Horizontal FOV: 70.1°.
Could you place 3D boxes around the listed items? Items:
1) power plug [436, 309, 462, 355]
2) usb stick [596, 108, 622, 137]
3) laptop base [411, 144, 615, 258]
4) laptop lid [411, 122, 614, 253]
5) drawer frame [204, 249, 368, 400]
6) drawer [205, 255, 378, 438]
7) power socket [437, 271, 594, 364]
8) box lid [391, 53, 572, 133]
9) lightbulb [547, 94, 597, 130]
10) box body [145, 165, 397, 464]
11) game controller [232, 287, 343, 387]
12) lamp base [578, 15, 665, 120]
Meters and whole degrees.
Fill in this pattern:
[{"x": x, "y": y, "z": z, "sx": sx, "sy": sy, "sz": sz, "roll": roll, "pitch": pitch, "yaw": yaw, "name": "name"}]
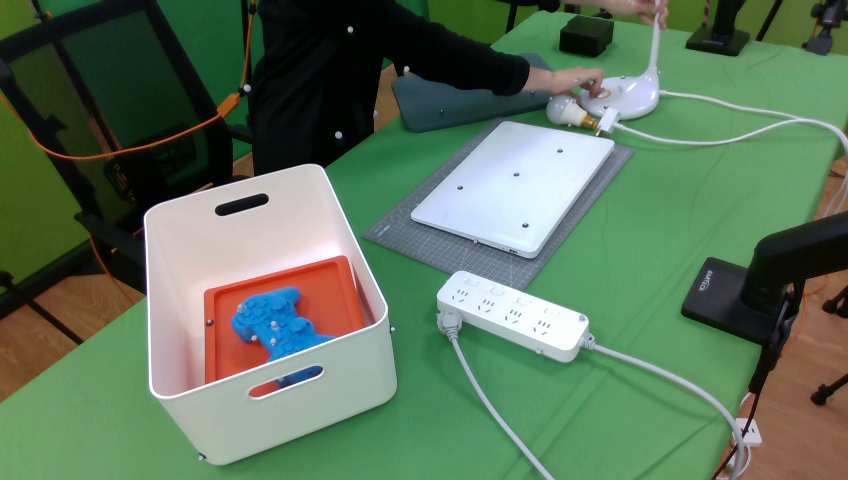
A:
[{"x": 0.032, "y": 0.126, "z": 0.810, "sx": 0.035, "sy": 0.053, "sz": 0.072, "roll": 3, "pitch": 59, "yaw": 7, "name": "power plug"}, {"x": 0.355, "y": -0.223, "z": 1.168, "sx": 0.027, "sy": 0.059, "sz": 0.022, "roll": 37, "pitch": 14, "yaw": 35, "name": "usb stick"}, {"x": 0.167, "y": -0.102, "z": 1.075, "sx": 0.234, "sy": 0.023, "sz": 0.355, "roll": 16, "pitch": 45, "yaw": 30, "name": "laptop base"}, {"x": 0.164, "y": -0.112, "z": 1.068, "sx": 0.240, "sy": 0.013, "sz": 0.357, "roll": 19, "pitch": 46, "yaw": 30, "name": "laptop lid"}, {"x": -0.174, "y": 0.129, "z": 0.790, "sx": 0.202, "sy": 0.083, "sz": 0.212, "roll": -16, "pitch": 45, "yaw": -8, "name": "drawer frame"}, {"x": -0.177, "y": 0.130, "z": 0.787, "sx": 0.195, "sy": 0.073, "sz": 0.210, "roll": -14, "pitch": 39, "yaw": -9, "name": "drawer"}, {"x": 0.118, "y": 0.102, "z": 0.830, "sx": 0.225, "sy": 0.033, "sz": 0.072, "roll": 20, "pitch": 48, "yaw": 28, "name": "power socket"}, {"x": 0.123, "y": -0.339, "z": 1.366, "sx": 0.372, "sy": 0.015, "sz": 0.261, "roll": -12, "pitch": 40, "yaw": -5, "name": "box lid"}, {"x": 0.297, "y": -0.250, "z": 1.208, "sx": 0.107, "sy": 0.059, "sz": 0.059, "roll": 30, "pitch": 51, "yaw": 15, "name": "lightbulb"}, {"x": -0.205, "y": 0.080, "z": 0.802, "sx": 0.255, "sy": 0.161, "sz": 0.361, "roll": -18, "pitch": 41, "yaw": -13, "name": "box body"}, {"x": -0.166, "y": 0.110, "z": 0.734, "sx": 0.097, "sy": 0.052, "sz": 0.154, "roll": -35, "pitch": 47, "yaw": -21, "name": "game controller"}, {"x": 0.409, "y": -0.357, "z": 1.214, "sx": 0.180, "sy": 0.181, "sz": 0.159, "roll": -10, "pitch": 41, "yaw": -7, "name": "lamp base"}]
